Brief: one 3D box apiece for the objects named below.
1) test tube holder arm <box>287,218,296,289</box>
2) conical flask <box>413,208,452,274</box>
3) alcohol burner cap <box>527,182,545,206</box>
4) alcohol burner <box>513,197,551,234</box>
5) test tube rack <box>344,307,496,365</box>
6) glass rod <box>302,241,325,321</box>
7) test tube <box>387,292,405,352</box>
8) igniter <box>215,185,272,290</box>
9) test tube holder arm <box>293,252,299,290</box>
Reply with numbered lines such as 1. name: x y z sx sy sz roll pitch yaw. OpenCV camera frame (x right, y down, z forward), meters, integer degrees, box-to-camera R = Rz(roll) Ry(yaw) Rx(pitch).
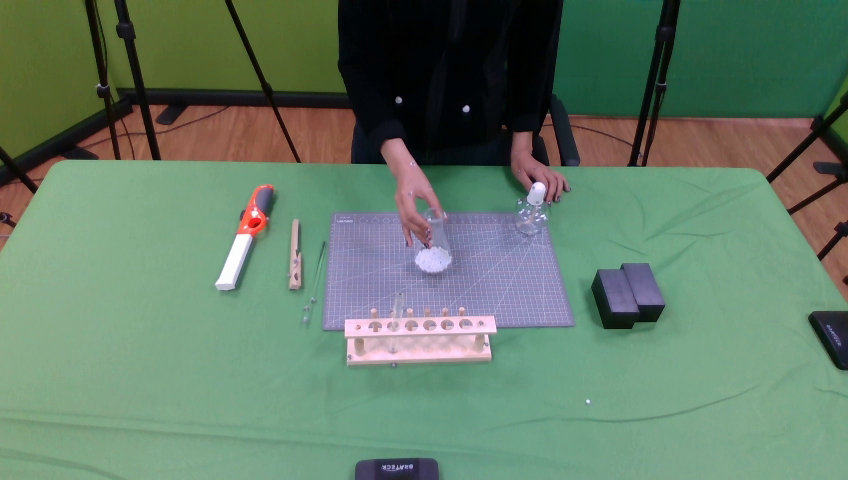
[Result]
1. test tube holder arm: -0.253 0.022 1.158 0.013 0.015 0.177 24 36 -34
2. conical flask: 0.016 -0.002 1.106 0.075 0.122 0.075 0 43 0
3. alcohol burner cap: 0.222 -0.092 1.190 0.034 0.048 0.033 2 54 -3
4. alcohol burner: 0.220 -0.069 1.217 0.078 0.119 0.077 3 47 -3
5. test tube rack: -0.009 0.154 1.007 0.242 0.085 0.066 -1 46 -5
6. glass rod: -0.203 0.071 1.124 0.008 0.008 0.198 4 44 1
7. test tube: -0.045 0.133 0.955 0.017 0.151 0.017 5 47 -5
8. igniter: -0.347 -0.014 1.182 0.057 0.025 0.275 -1 45 8
9. test tube holder arm: -0.241 0.056 1.131 0.010 0.015 0.087 25 35 -33
